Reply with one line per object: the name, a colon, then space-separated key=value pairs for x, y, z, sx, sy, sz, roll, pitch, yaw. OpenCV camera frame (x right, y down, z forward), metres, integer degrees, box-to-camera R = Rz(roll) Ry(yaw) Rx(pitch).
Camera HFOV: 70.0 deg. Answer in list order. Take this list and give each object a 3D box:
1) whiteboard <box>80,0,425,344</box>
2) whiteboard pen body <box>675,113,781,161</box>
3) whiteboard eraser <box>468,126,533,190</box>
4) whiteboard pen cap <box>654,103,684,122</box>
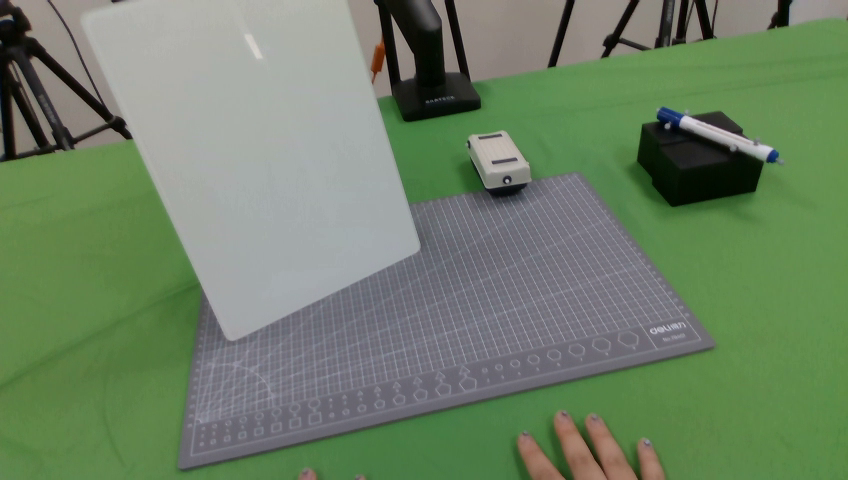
whiteboard: x=-0.160 y=-0.096 z=0.608 sx=0.217 sy=0.307 sz=0.142 roll=-26 pitch=23 yaw=-21
whiteboard pen body: x=0.327 y=-0.120 z=0.674 sx=0.017 sy=0.017 sz=0.139 roll=-28 pitch=43 yaw=-24
whiteboard eraser: x=0.092 y=-0.100 z=0.742 sx=0.055 sy=0.042 sz=0.111 roll=-11 pitch=36 yaw=-4
whiteboard pen cap: x=0.289 y=-0.149 z=0.714 sx=0.033 sy=0.018 sz=0.018 roll=-11 pitch=35 yaw=24
